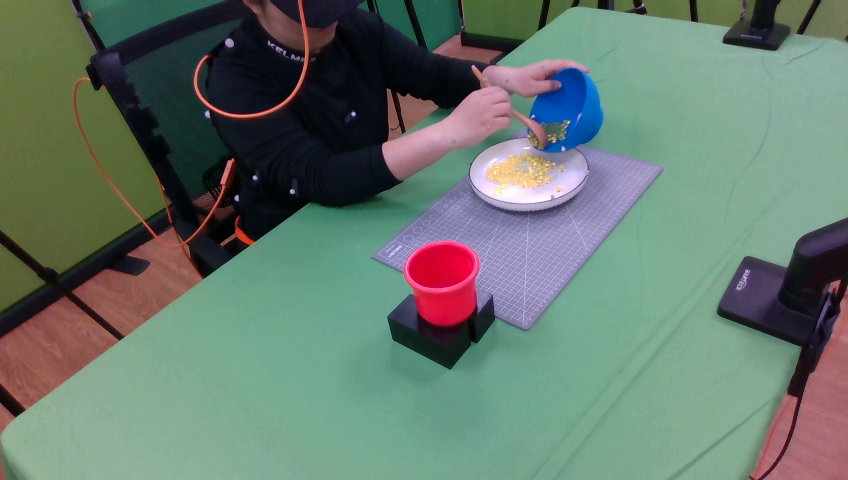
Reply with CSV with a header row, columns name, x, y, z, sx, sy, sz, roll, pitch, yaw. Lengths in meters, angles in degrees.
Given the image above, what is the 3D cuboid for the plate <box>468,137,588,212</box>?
name,x,y,z,sx,sy,sz,roll,pitch,yaw
plate,0.182,-0.111,1.064,0.207,0.039,0.206,-5,40,5

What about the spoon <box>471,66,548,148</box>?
name,x,y,z,sx,sy,sz,roll,pitch,yaw
spoon,0.148,-0.227,1.035,0.021,0.195,0.041,-41,20,34

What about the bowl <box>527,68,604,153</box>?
name,x,y,z,sx,sy,sz,roll,pitch,yaw
bowl,0.259,-0.215,1.057,0.077,0.151,0.150,17,31,-28
